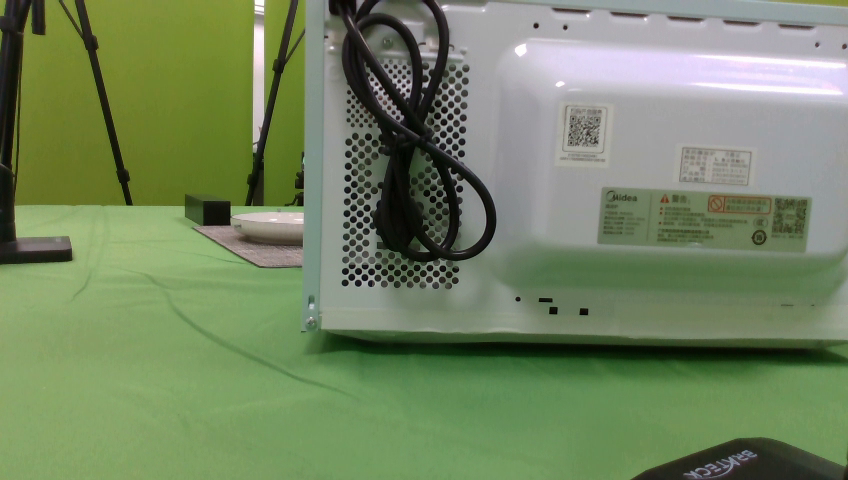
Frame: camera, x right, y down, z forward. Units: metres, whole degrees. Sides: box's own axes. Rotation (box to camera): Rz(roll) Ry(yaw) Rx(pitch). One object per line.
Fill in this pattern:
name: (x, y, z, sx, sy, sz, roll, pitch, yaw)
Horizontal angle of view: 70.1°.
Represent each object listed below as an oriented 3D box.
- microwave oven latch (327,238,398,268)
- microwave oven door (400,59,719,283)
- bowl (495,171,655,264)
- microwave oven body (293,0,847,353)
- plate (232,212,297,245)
microwave oven latch: (-0.070, 0.015, 0.694, 0.079, 0.029, 0.030, 3, 7, -3)
microwave oven door: (0.155, -0.078, 0.706, 0.356, 0.243, 0.039, 2, 8, -2)
bowl: (0.144, -0.023, 0.592, 0.151, 0.077, 0.151, 1, 11, 0)
microwave oven body: (0.122, -0.055, 0.550, 0.442, 0.260, 0.325, 3, 7, -5)
plate: (-0.214, -0.019, 1.018, 0.208, 0.039, 0.207, 2, 7, 0)
